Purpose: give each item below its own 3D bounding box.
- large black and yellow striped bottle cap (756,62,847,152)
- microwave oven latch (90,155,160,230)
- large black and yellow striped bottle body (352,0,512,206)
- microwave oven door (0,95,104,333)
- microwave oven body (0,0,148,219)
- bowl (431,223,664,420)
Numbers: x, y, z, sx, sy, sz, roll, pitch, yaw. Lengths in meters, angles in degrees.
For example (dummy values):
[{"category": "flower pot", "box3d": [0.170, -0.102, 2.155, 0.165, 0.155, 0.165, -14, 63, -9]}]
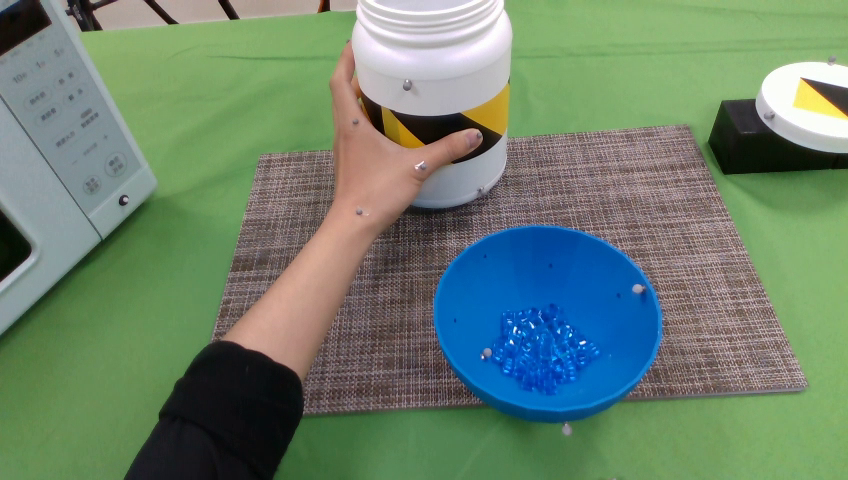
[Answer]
[{"category": "large black and yellow striped bottle cap", "box3d": [0.365, -0.123, 0.549, 0.115, 0.019, 0.114, -3, 48, 4]}, {"category": "microwave oven latch", "box3d": [-0.288, -0.048, 0.574, 0.030, 0.030, 0.079, 21, 55, 21]}, {"category": "large black and yellow striped bottle body", "box3d": [0.009, -0.136, 0.526, 0.131, 0.186, 0.129, -2, 47, 3]}, {"category": "microwave oven door", "box3d": [-0.397, 0.037, 0.375, 0.039, 0.246, 0.354, 18, 53, 21]}, {"category": "microwave oven body", "box3d": [-0.507, -0.032, 0.452, 0.324, 0.263, 0.439, 19, 54, 20]}, {"category": "bowl", "box3d": [0.083, 0.068, 0.431, 0.151, 0.077, 0.150, -3, 49, 4]}]
